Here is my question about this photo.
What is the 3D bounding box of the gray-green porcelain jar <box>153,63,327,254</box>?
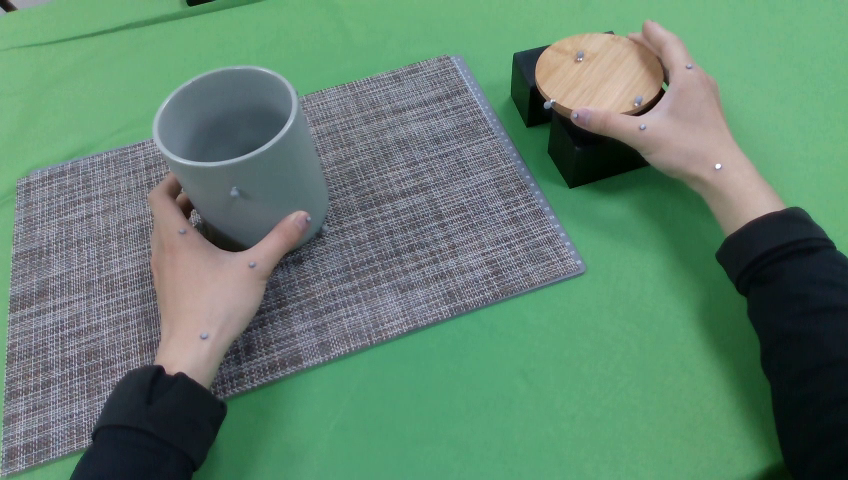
[{"bbox_3d":[-0.138,-0.058,0.487,0.106,0.127,0.105,-2,55,4],"label":"gray-green porcelain jar"}]

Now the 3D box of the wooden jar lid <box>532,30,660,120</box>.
[{"bbox_3d":[0.149,-0.144,0.531,0.108,0.021,0.107,-2,56,3],"label":"wooden jar lid"}]
